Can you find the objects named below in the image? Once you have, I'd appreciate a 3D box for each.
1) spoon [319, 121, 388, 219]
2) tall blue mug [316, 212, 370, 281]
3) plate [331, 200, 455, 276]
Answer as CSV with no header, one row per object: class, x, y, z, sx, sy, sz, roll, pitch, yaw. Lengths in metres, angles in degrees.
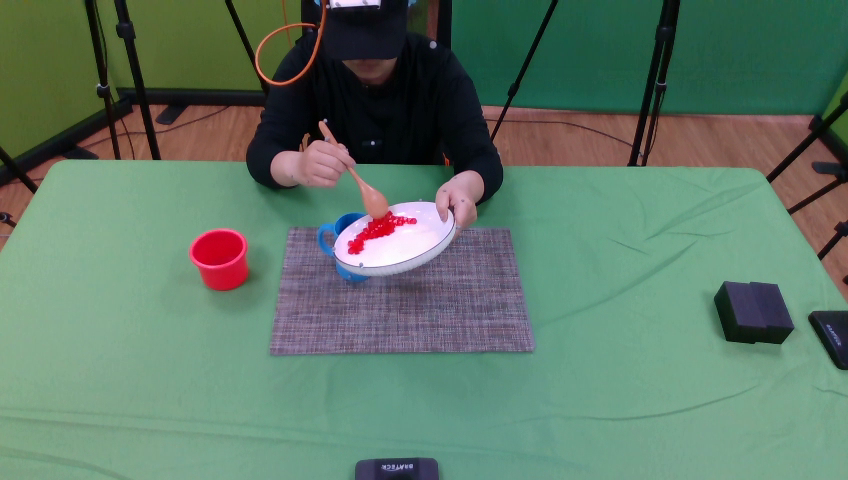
spoon,-0.124,-0.119,1.034,0.041,0.021,0.194,-37,100,-14
tall blue mug,-0.141,0.014,1.109,0.107,0.108,0.077,-4,47,-8
plate,-0.048,0.000,0.997,0.207,0.039,0.206,-12,29,7
